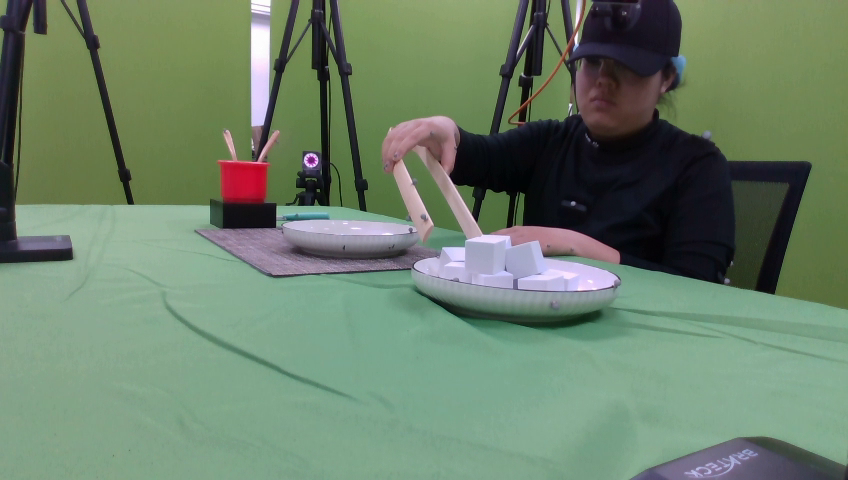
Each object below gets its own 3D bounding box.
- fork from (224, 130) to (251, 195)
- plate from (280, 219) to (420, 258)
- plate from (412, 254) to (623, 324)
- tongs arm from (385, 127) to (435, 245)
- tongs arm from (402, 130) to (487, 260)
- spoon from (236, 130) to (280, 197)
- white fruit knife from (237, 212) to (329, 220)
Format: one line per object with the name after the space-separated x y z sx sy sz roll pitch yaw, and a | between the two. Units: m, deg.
-0.372 -0.155 1.193 0.028 0.018 0.206 -17 54 -13 | fork
-0.108 -0.002 0.902 0.208 0.039 0.207 3 7 0 | plate
0.090 0.047 0.609 0.209 0.038 0.209 2 7 0 | plate
-0.015 -0.087 0.815 0.051 0.026 0.383 14 23 -20 | tongs arm
0.021 -0.077 0.828 0.028 0.028 0.386 10 25 -19 | tongs arm
-0.321 -0.154 1.192 0.041 0.193 0.022 0 -37 19 | spoon
-0.304 -0.050 1.328 0.208 0.016 0.027 -3 -19 -29 | white fruit knife
